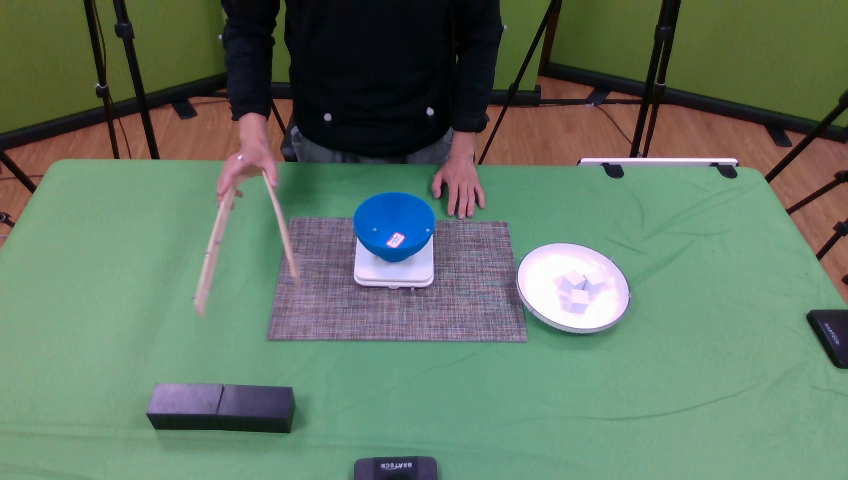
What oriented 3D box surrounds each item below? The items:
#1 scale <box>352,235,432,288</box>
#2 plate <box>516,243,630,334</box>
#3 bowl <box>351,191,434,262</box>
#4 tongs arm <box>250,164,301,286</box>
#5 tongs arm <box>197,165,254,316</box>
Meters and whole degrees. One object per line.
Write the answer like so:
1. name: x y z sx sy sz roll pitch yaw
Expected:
1. scale: -0.060 0.010 1.171 0.149 0.032 0.199 2 46 -3
2. plate: 0.272 0.092 1.120 0.208 0.039 0.206 2 46 -2
3. bowl: -0.057 -0.013 1.119 0.151 0.077 0.150 2 46 -1
4. tongs arm: -0.246 -0.040 1.001 0.028 0.028 0.385 -26 38 -6
5. tongs arm: -0.319 -0.017 0.997 0.051 0.027 0.382 -16 36 1
